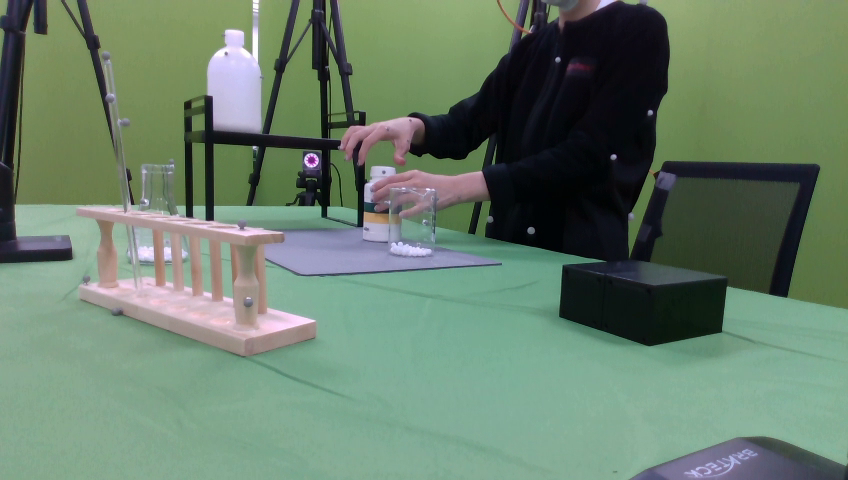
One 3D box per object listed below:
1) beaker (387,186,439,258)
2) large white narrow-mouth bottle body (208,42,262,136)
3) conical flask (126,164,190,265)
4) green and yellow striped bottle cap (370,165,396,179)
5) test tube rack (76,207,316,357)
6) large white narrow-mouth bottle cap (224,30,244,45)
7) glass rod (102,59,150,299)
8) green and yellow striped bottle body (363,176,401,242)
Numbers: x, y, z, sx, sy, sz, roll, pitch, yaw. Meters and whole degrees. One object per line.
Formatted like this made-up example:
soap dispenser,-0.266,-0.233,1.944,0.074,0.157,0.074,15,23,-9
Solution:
beaker,-0.015,-0.027,0.885,0.074,0.100,0.083,-1,8,-20
large white narrow-mouth bottle body,-0.368,-0.304,1.181,0.102,0.194,0.101,2,9,0
conical flask,-0.332,-0.033,0.756,0.075,0.122,0.075,2,7,0
green and yellow striped bottle cap,-0.069,-0.115,1.028,0.045,0.020,0.045,2,0,0
test tube rack,-0.196,0.023,0.500,0.241,0.085,0.067,8,9,36
large white narrow-mouth bottle cap,-0.365,-0.389,1.166,0.038,0.024,0.037,2,9,0
glass rod,-0.243,-0.045,0.496,0.008,0.199,0.008,-4,13,1
green and yellow striped bottle body,-0.072,-0.059,1.036,0.063,0.119,0.063,3,7,0
